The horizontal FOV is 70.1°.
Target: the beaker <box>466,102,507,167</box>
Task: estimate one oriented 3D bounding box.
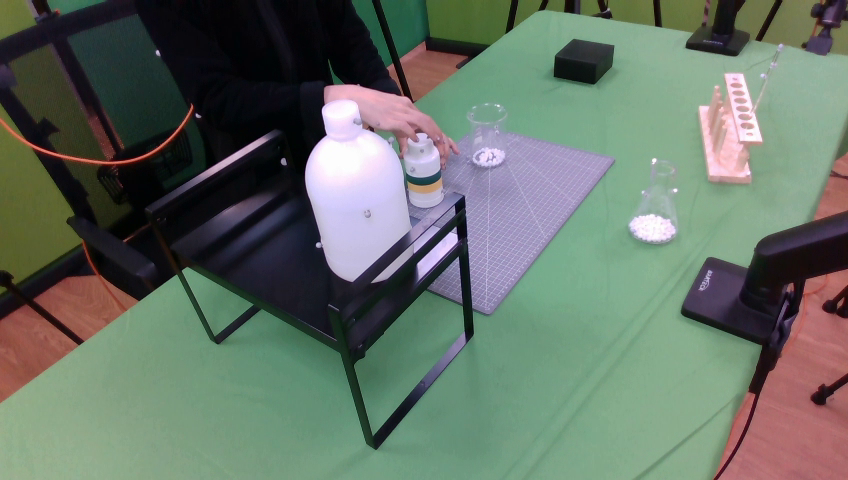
[{"bbox_3d":[0.121,-0.195,1.124,0.084,0.101,0.073,-34,48,-28],"label":"beaker"}]

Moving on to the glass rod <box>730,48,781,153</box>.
[{"bbox_3d":[0.554,-0.228,1.015,0.008,0.200,0.008,1,44,-1],"label":"glass rod"}]

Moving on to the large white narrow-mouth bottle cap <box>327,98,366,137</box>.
[{"bbox_3d":[-0.075,-0.118,0.582,0.038,0.024,0.037,-3,40,3],"label":"large white narrow-mouth bottle cap"}]

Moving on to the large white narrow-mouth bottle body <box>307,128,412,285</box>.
[{"bbox_3d":[-0.070,-0.051,0.638,0.102,0.195,0.101,-3,40,3],"label":"large white narrow-mouth bottle body"}]

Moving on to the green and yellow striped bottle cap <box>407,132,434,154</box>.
[{"bbox_3d":[-0.006,-0.161,1.003,0.045,0.020,0.045,-3,39,3],"label":"green and yellow striped bottle cap"}]

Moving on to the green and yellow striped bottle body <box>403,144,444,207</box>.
[{"bbox_3d":[-0.001,-0.121,1.038,0.063,0.120,0.063,-4,41,4],"label":"green and yellow striped bottle body"}]

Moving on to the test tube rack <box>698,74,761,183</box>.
[{"bbox_3d":[0.547,-0.208,1.095,0.066,0.085,0.242,5,42,15],"label":"test tube rack"}]

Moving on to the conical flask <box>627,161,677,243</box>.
[{"bbox_3d":[0.355,-0.061,0.921,0.075,0.122,0.075,-4,41,4],"label":"conical flask"}]
